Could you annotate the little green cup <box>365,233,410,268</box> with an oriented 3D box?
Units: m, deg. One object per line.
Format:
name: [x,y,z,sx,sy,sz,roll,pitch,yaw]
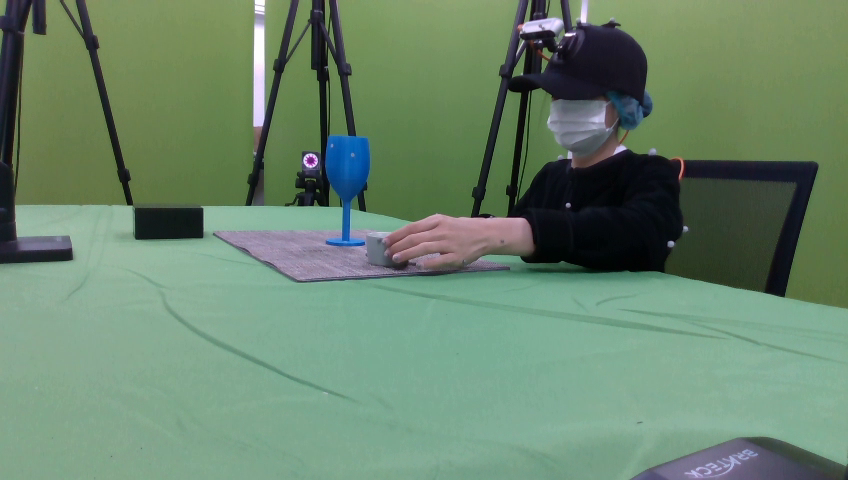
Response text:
little green cup: [-0.048,0.013,0.802,0.061,0.038,0.061,2,8,0]

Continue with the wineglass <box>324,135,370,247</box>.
wineglass: [-0.124,-0.079,0.965,0.074,0.172,0.073,3,7,0]
